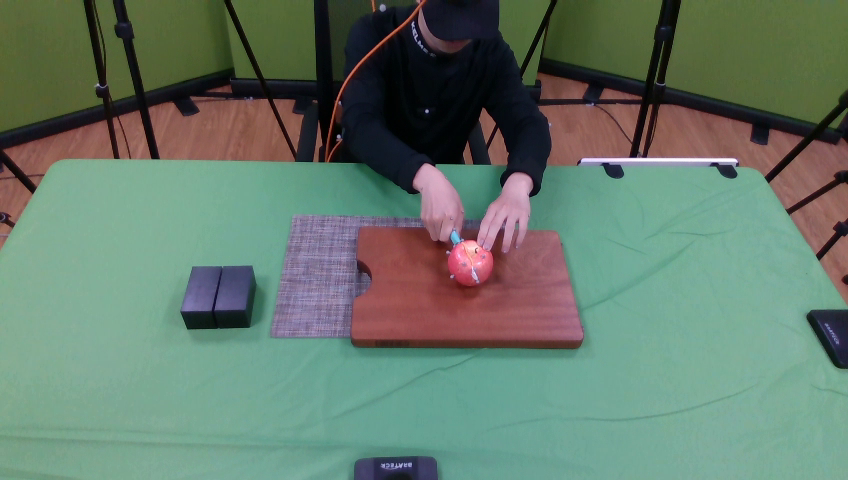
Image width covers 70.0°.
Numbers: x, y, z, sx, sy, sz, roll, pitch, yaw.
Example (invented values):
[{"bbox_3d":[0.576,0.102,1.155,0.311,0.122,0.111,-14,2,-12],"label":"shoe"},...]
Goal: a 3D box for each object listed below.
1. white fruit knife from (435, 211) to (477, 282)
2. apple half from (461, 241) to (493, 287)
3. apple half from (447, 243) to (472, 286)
[{"bbox_3d":[0.059,0.007,1.108,0.016,0.027,0.206,-8,39,-18],"label":"white fruit knife"},{"bbox_3d":[0.095,0.042,1.093,0.053,0.075,0.080,-8,43,-18],"label":"apple half"},{"bbox_3d":[0.058,0.049,1.083,0.033,0.081,0.080,-11,47,-14],"label":"apple half"}]
